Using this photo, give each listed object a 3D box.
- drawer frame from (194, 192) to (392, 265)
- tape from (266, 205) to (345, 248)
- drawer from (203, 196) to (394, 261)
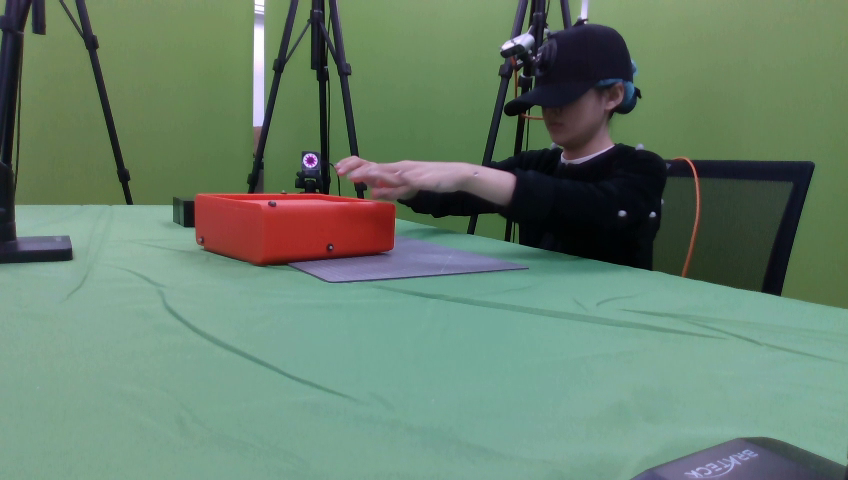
[{"bbox_3d":[-0.190,-0.024,0.882,0.215,0.082,0.200,-5,11,-44],"label":"drawer frame"},{"bbox_3d":[-0.178,-0.021,0.903,0.117,0.052,0.117,5,6,0],"label":"tape"},{"bbox_3d":[-0.184,-0.022,0.887,0.213,0.073,0.193,-5,12,-43],"label":"drawer"}]
